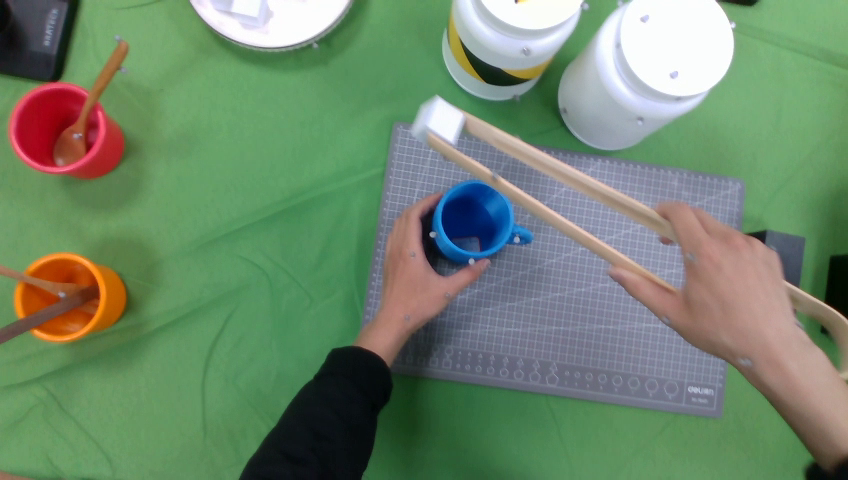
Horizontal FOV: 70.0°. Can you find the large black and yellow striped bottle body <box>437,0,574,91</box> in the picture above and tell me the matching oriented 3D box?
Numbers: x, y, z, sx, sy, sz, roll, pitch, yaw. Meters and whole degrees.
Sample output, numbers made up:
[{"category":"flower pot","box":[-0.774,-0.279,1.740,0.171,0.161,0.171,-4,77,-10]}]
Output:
[{"category":"large black and yellow striped bottle body","box":[0.087,-0.253,0.662,0.131,0.184,0.130,0,85,-5]}]

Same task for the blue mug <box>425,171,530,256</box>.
[{"category":"blue mug","box":[0.062,-0.023,0.681,0.117,0.106,0.082,14,84,-4]}]

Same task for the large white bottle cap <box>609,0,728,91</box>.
[{"category":"large white bottle cap","box":[0.237,-0.203,0.587,0.115,0.018,0.114,1,85,-6]}]

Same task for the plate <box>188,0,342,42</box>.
[{"category":"plate","box":[-0.186,-0.332,0.717,0.208,0.039,0.207,0,86,-5]}]

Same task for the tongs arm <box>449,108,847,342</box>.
[{"category":"tongs arm","box":[0.186,-0.019,0.516,0.386,0.028,0.028,30,68,12]}]

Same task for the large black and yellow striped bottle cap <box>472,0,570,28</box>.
[{"category":"large black and yellow striped bottle cap","box":[0.093,-0.263,0.580,0.115,0.019,0.115,0,87,-6]}]

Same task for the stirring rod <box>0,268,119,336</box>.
[{"category":"stirring rod","box":[-0.394,0.072,0.619,0.014,0.006,0.176,56,41,-2]}]

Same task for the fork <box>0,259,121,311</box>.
[{"category":"fork","box":[-0.411,0.031,0.615,0.209,0.018,0.028,33,79,-45]}]

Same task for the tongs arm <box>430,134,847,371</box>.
[{"category":"tongs arm","box":[0.174,-0.001,0.509,0.383,0.027,0.050,34,73,13]}]

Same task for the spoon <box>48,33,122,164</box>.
[{"category":"spoon","box":[-0.356,-0.145,0.635,0.194,0.021,0.041,-38,85,37]}]

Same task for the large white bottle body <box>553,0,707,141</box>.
[{"category":"large white bottle body","box":[0.230,-0.194,0.671,0.131,0.184,0.130,0,85,-5]}]
